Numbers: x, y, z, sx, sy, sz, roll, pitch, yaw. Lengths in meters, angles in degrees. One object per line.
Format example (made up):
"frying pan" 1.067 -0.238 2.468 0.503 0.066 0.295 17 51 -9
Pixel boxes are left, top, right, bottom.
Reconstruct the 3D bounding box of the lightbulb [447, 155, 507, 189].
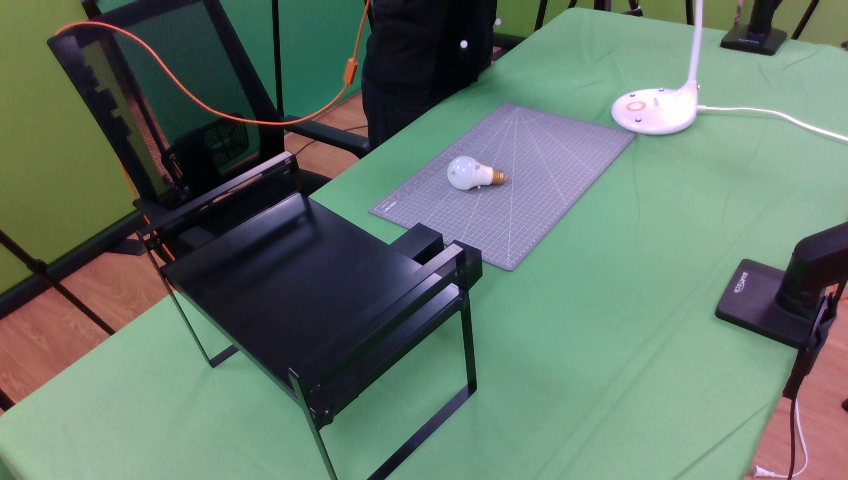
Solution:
"lightbulb" 0.095 -0.118 1.074 0.108 0.059 0.059 7 40 -7

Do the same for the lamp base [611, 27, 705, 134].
"lamp base" 0.459 -0.316 1.154 0.179 0.181 0.159 -6 41 -1
